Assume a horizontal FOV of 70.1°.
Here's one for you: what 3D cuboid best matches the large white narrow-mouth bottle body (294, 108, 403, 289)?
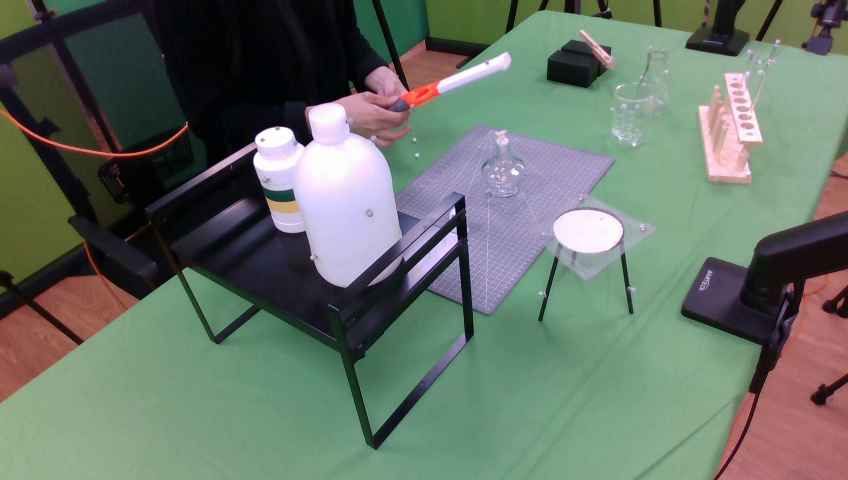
[{"bbox_3d":[-0.082,-0.047,0.634,0.102,0.195,0.101,-4,40,4],"label":"large white narrow-mouth bottle body"}]

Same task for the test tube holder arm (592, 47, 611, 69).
[{"bbox_3d":[0.386,-0.398,1.317,0.010,0.015,0.087,-10,41,-2],"label":"test tube holder arm"}]

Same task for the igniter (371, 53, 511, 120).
[{"bbox_3d":[0.020,-0.257,1.031,0.275,0.025,0.057,-13,31,34],"label":"igniter"}]

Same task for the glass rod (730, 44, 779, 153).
[{"bbox_3d":[0.555,-0.233,1.020,0.008,0.200,0.008,2,40,-1],"label":"glass rod"}]

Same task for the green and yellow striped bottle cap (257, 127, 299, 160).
[{"bbox_3d":[-0.169,-0.112,0.698,0.045,0.020,0.045,-5,40,5],"label":"green and yellow striped bottle cap"}]

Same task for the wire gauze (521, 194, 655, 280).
[{"bbox_3d":[0.207,-0.012,0.772,0.122,0.011,0.124,-28,44,-20],"label":"wire gauze"}]

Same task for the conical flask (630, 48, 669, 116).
[{"bbox_3d":[0.457,-0.317,1.205,0.075,0.122,0.075,-4,41,4],"label":"conical flask"}]

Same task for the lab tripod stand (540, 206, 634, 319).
[{"bbox_3d":[0.218,0.034,0.821,0.148,0.132,0.147,-4,42,4],"label":"lab tripod stand"}]

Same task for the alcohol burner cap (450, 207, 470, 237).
[{"bbox_3d":[0.057,-0.032,0.987,0.034,0.048,0.033,-5,41,5],"label":"alcohol burner cap"}]

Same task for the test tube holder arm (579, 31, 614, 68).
[{"bbox_3d":[0.384,-0.428,1.351,0.013,0.015,0.177,-11,41,-3],"label":"test tube holder arm"}]

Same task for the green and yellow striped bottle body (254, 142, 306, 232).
[{"bbox_3d":[-0.165,-0.073,0.732,0.063,0.120,0.063,-4,41,4],"label":"green and yellow striped bottle body"}]

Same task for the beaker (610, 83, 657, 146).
[{"bbox_3d":[0.388,-0.235,1.137,0.074,0.101,0.083,-31,45,-26],"label":"beaker"}]

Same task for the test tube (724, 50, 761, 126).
[{"bbox_3d":[0.570,-0.269,1.086,0.017,0.151,0.017,-1,46,1],"label":"test tube"}]

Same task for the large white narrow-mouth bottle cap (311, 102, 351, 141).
[{"bbox_3d":[-0.089,-0.113,0.579,0.038,0.024,0.037,-3,40,3],"label":"large white narrow-mouth bottle cap"}]

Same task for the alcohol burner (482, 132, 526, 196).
[{"bbox_3d":[0.137,-0.136,1.042,0.078,0.119,0.077,-4,43,4],"label":"alcohol burner"}]

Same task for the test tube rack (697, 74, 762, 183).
[{"bbox_3d":[0.547,-0.208,1.095,0.066,0.085,0.242,5,42,15],"label":"test tube rack"}]
